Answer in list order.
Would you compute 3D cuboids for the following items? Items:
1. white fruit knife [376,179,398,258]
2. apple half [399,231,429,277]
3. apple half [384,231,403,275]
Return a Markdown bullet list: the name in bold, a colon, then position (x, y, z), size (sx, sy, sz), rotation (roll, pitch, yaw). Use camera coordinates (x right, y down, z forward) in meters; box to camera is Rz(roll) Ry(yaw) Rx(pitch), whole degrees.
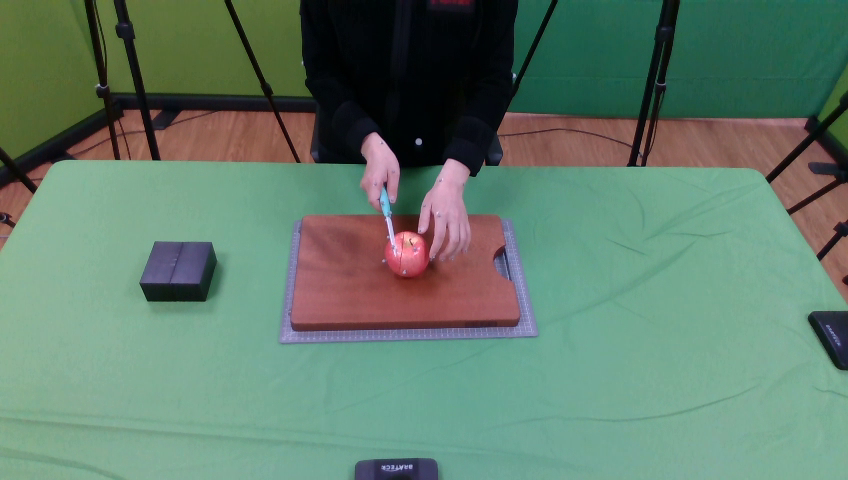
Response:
- **white fruit knife**: position (-0.064, -0.043, 1.067), size (0.016, 0.027, 0.206), rotation (-26, 45, 12)
- **apple half**: position (-0.018, 0.028, 1.095), size (0.053, 0.075, 0.080), rotation (6, 42, -4)
- **apple half**: position (-0.056, 0.025, 1.092), size (0.033, 0.081, 0.081), rotation (5, 46, -2)
